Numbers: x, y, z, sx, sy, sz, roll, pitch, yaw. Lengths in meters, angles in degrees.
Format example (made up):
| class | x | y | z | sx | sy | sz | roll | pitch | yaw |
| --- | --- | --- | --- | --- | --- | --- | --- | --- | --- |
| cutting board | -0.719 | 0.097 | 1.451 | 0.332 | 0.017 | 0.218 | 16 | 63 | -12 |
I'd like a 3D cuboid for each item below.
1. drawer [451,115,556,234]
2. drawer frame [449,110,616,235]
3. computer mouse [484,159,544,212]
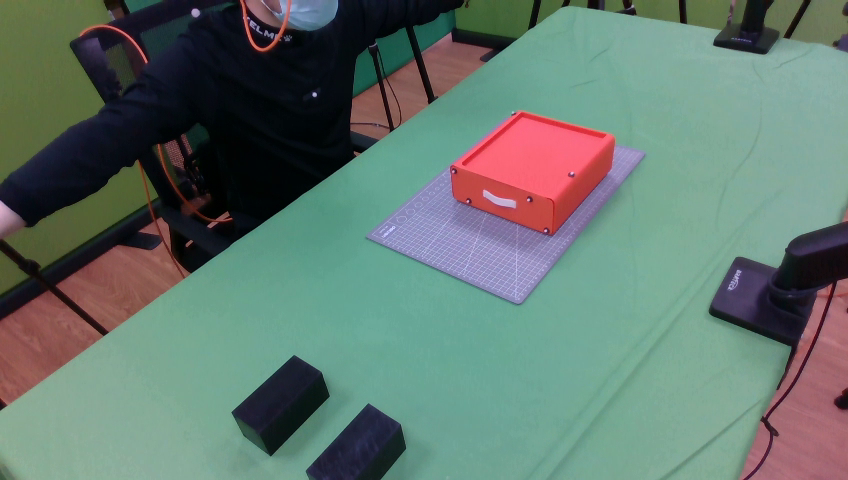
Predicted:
| class | x | y | z | sx | sy | sz | roll | pitch | yaw |
| --- | --- | --- | --- | --- | --- | --- | --- | --- | --- |
| drawer | 0.185 | -0.121 | 1.034 | 0.193 | 0.073 | 0.212 | 23 | 48 | 31 |
| drawer frame | 0.186 | -0.124 | 1.035 | 0.200 | 0.083 | 0.214 | 23 | 48 | 31 |
| computer mouse | 0.152 | -0.094 | 1.011 | 0.063 | 0.041 | 0.116 | -10 | 52 | -29 |
